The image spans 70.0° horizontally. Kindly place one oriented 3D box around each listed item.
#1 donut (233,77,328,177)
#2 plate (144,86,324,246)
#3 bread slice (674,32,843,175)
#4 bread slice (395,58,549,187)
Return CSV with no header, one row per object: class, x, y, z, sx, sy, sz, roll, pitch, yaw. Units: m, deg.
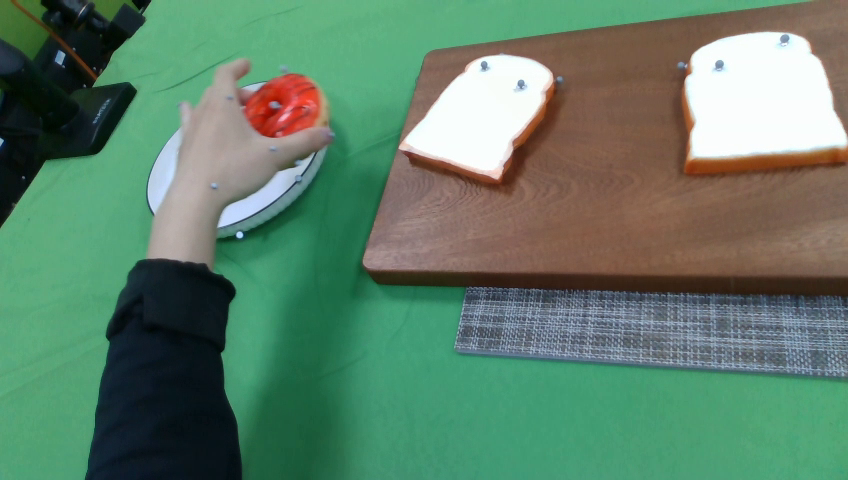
donut,-0.132,-0.103,0.551,0.099,0.049,0.098,-14,58,24
plate,-0.197,-0.078,0.645,0.209,0.038,0.207,-11,54,15
bread slice,0.245,-0.108,0.462,0.104,0.019,0.130,-4,57,19
bread slice,0.048,-0.110,0.543,0.106,0.018,0.134,18,66,31
